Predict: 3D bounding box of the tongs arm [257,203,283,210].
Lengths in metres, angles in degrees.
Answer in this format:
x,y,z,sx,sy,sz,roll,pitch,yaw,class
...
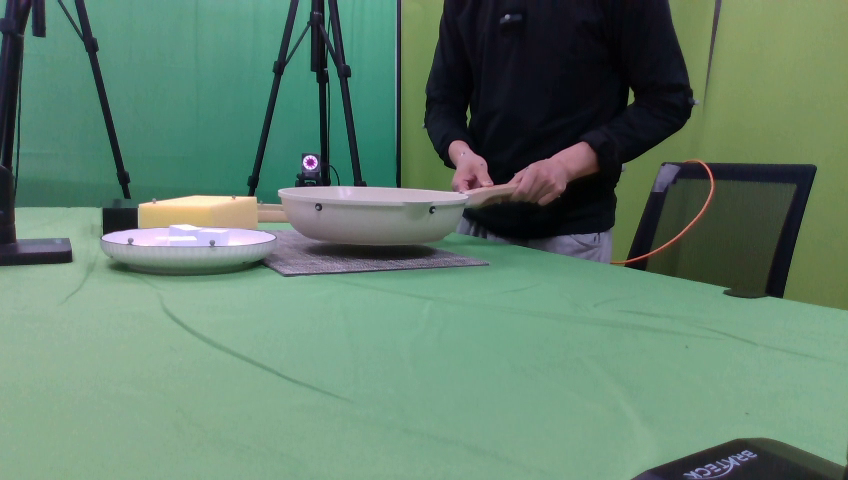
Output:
x,y,z,sx,sy,sz,roll,pitch,yaw,class
-0.306,-0.070,1.430,0.386,0.026,0.050,2,8,-15,tongs arm

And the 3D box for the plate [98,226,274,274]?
x,y,z,sx,sy,sz,roll,pitch,yaw,class
-0.301,0.012,0.778,0.208,0.039,0.207,2,7,0,plate

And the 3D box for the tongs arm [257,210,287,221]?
x,y,z,sx,sy,sz,roll,pitch,yaw,class
-0.280,-0.055,1.355,0.389,0.028,0.028,-1,6,-28,tongs arm

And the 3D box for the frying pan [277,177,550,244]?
x,y,z,sx,sy,sz,roll,pitch,yaw,class
0.013,-0.065,0.987,0.490,0.102,0.305,-12,15,-26,frying pan

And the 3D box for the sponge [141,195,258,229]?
x,y,z,sx,sy,sz,roll,pitch,yaw,class
-0.380,-0.040,1.047,0.118,0.061,0.207,1,9,3,sponge
